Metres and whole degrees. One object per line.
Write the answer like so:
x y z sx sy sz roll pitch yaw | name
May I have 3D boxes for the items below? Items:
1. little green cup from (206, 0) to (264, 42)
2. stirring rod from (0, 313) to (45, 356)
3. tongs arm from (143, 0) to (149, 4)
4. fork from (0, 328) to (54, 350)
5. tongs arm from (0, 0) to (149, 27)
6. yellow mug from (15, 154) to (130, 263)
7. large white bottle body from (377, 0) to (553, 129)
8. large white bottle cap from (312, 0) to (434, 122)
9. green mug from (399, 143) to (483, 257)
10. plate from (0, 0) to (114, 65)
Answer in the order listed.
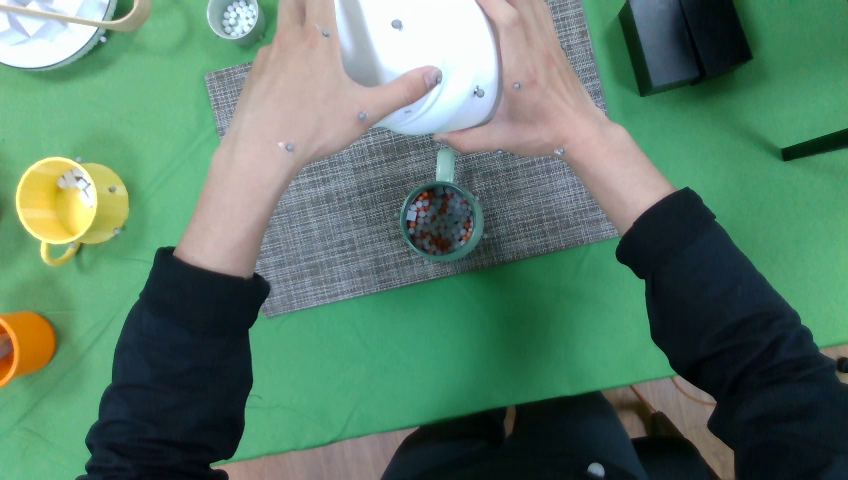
-0.218 -0.264 0.709 0.061 0.038 0.061 0 93 5 | little green cup
-0.517 0.148 0.698 0.014 0.006 0.175 37 52 2 | stirring rod
-0.477 -0.375 0.698 0.387 0.028 0.028 29 87 5 | tongs arm
-0.547 0.117 0.693 0.209 0.018 0.028 4 88 -38 | fork
-0.506 -0.297 0.701 0.384 0.026 0.050 16 90 6 | tongs arm
-0.421 -0.034 0.720 0.100 0.064 0.131 19 94 4 | yellow mug
0.014 -0.163 0.519 0.129 0.185 0.131 11 108 36 | large white bottle body
-0.041 -0.146 0.451 0.114 0.018 0.115 11 109 38 | large white bottle cap
0.019 -0.043 0.660 0.092 0.105 0.125 4 92 5 | green mug
-0.464 -0.312 0.729 0.207 0.039 0.207 0 92 5 | plate
